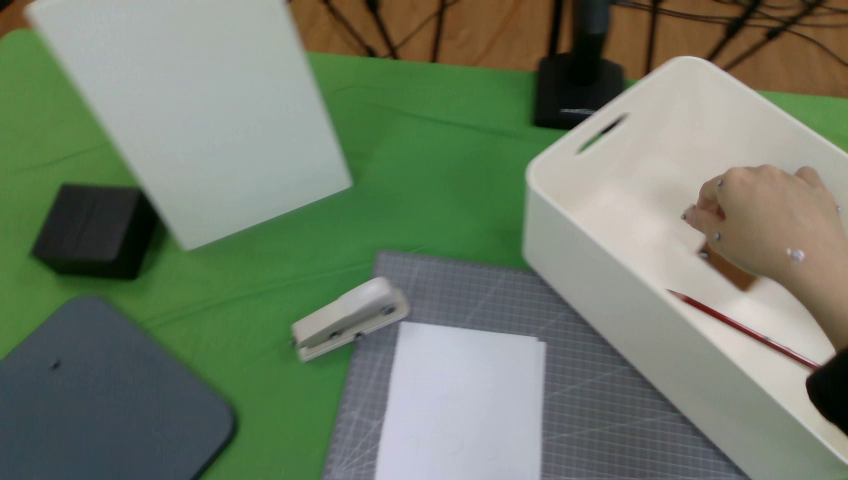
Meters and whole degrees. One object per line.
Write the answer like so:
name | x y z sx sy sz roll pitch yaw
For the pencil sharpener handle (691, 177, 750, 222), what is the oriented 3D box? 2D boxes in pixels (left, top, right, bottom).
pencil sharpener handle | 0.316 -0.049 0.653 0.036 0.068 0.030 -28 61 -31

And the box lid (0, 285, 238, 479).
box lid | -0.395 0.238 0.594 0.261 0.015 0.370 33 67 19

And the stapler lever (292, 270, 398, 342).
stapler lever | -0.084 0.068 0.640 0.118 0.040 0.026 -23 58 -8

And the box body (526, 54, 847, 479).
box body | 0.305 0.021 0.602 0.254 0.162 0.361 -35 65 -17

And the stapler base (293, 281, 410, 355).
stapler base | -0.080 0.080 0.662 0.130 0.024 0.041 -24 58 -7

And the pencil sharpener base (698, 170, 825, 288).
pencil sharpener base | 0.352 -0.011 0.644 0.061 0.108 0.076 -35 64 -18

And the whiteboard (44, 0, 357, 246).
whiteboard | -0.233 -0.184 0.691 0.217 0.308 0.142 -22 43 -10

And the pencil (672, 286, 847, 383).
pencil | 0.350 0.095 0.640 0.193 0.012 0.012 30 66 21
